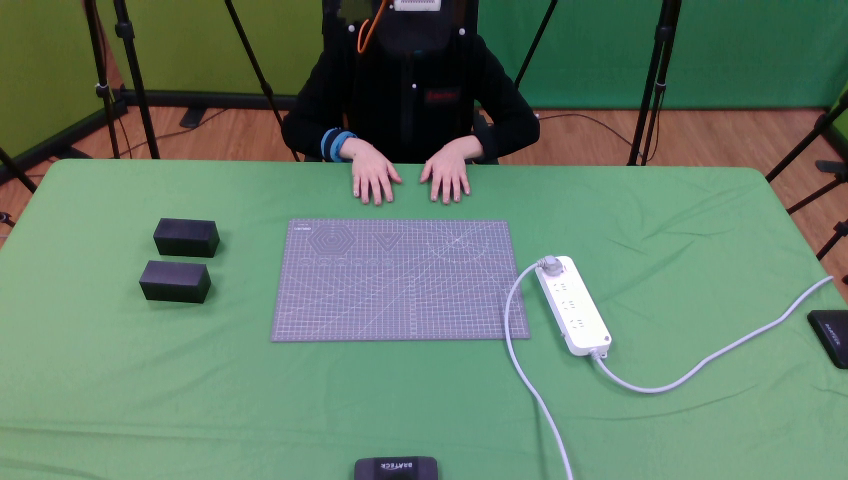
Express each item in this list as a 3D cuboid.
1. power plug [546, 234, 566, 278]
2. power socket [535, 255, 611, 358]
[{"bbox_3d":[0.242,0.031,1.107,0.035,0.073,0.052,1,32,11],"label":"power plug"},{"bbox_3d":[0.266,0.114,1.098,0.072,0.033,0.225,-7,47,-9],"label":"power socket"}]
